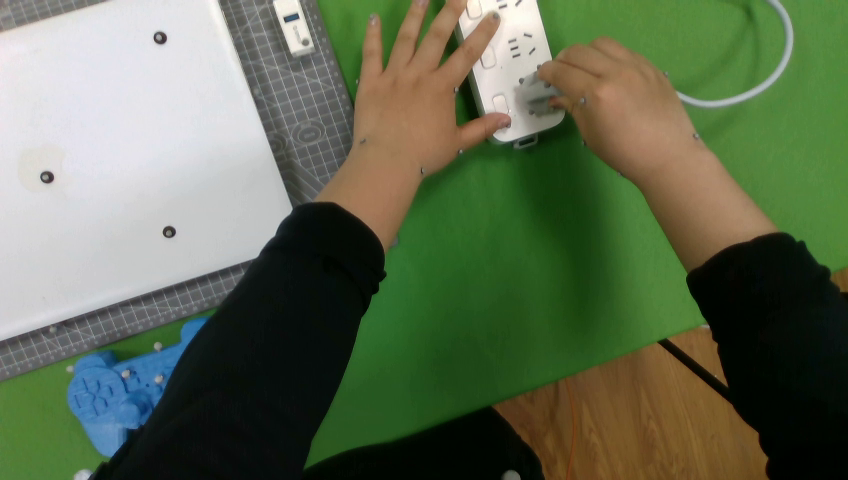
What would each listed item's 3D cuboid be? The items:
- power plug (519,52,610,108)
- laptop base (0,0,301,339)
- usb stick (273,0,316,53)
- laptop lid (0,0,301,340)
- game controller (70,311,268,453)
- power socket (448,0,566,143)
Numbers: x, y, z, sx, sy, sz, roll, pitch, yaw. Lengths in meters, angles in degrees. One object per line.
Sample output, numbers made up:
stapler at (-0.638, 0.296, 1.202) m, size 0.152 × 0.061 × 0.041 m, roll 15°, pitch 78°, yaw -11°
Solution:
power plug at (0.117, -0.134, 0.515) m, size 0.072 × 0.052 × 0.035 m, roll -9°, pitch 98°, yaw -4°
laptop base at (-0.308, -0.057, 0.509) m, size 0.354 × 0.023 × 0.236 m, roll -19°, pitch 102°, yaw -4°
usb stick at (-0.111, -0.190, 0.508) m, size 0.021 × 0.027 × 0.059 m, roll -19°, pitch 97°, yaw -1°
laptop lid at (-0.306, -0.054, 0.497) m, size 0.357 × 0.013 × 0.242 m, roll -17°, pitch 101°, yaw -4°
game controller at (-0.225, 0.124, 0.527) m, size 0.155 × 0.051 × 0.097 m, roll -18°, pitch 93°, yaw -4°
power socket at (0.063, -0.196, 0.526) m, size 0.072 × 0.032 × 0.227 m, roll -18°, pitch 99°, yaw -2°
